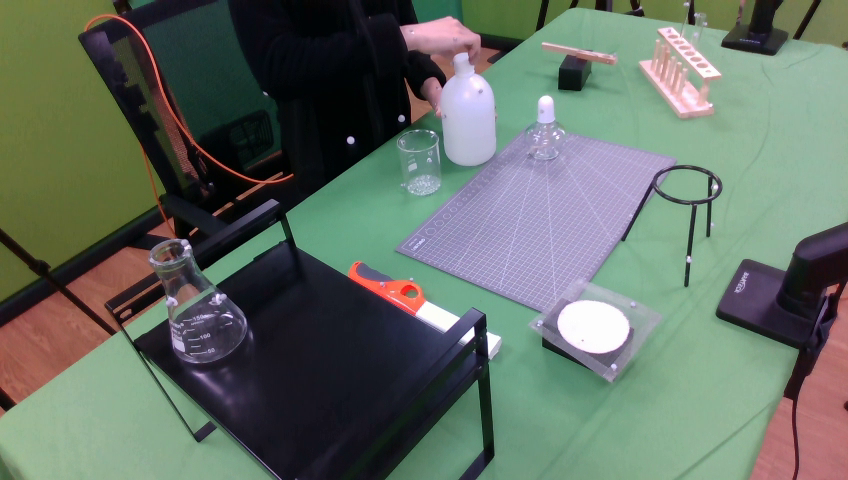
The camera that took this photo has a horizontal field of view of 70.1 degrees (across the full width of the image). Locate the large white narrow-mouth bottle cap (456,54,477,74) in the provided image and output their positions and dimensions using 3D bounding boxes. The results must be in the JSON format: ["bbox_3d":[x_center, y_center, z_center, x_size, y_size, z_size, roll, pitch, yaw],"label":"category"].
[{"bbox_3d":[0.075,-0.309,1.062,0.038,0.024,0.037,-4,40,4],"label":"large white narrow-mouth bottle cap"}]

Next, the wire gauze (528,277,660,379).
[{"bbox_3d":[0.213,0.103,0.763,0.124,0.011,0.122,30,52,35],"label":"wire gauze"}]

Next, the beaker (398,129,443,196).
[{"bbox_3d":[-0.002,-0.139,1.087,0.073,0.101,0.084,28,52,35],"label":"beaker"}]

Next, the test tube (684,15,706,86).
[{"bbox_3d":[0.540,-0.378,1.215,0.017,0.151,0.017,-2,44,3],"label":"test tube"}]

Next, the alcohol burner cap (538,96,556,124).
[{"bbox_3d":[0.222,-0.237,1.095,0.034,0.048,0.033,-7,35,5],"label":"alcohol burner cap"}]

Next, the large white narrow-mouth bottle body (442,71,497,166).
[{"bbox_3d":[0.084,-0.242,1.121,0.102,0.195,0.101,-4,41,4],"label":"large white narrow-mouth bottle body"}]

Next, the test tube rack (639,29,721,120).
[{"bbox_3d":[0.527,-0.351,1.262,0.067,0.085,0.241,-8,40,1],"label":"test tube rack"}]

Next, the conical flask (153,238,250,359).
[{"bbox_3d":[-0.225,0.055,0.597,0.075,0.122,0.075,-5,41,4],"label":"conical flask"}]

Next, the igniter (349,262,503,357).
[{"bbox_3d":[-0.008,0.093,0.870,0.274,0.025,0.057,24,60,33],"label":"igniter"}]

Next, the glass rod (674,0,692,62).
[{"bbox_3d":[0.537,-0.437,1.257,0.008,0.200,0.008,0,39,1],"label":"glass rod"}]

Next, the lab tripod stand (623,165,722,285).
[{"bbox_3d":[0.365,-0.030,0.874,0.148,0.132,0.147,-6,41,6],"label":"lab tripod stand"}]

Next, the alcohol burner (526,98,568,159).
[{"bbox_3d":[0.228,-0.210,1.118,0.078,0.119,0.077,-5,43,5],"label":"alcohol burner"}]

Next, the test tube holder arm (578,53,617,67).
[{"bbox_3d":[0.376,-0.393,1.314,0.087,0.015,0.010,26,51,32],"label":"test tube holder arm"}]

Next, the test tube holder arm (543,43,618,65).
[{"bbox_3d":[0.344,-0.413,1.340,0.177,0.015,0.013,25,51,31],"label":"test tube holder arm"}]
